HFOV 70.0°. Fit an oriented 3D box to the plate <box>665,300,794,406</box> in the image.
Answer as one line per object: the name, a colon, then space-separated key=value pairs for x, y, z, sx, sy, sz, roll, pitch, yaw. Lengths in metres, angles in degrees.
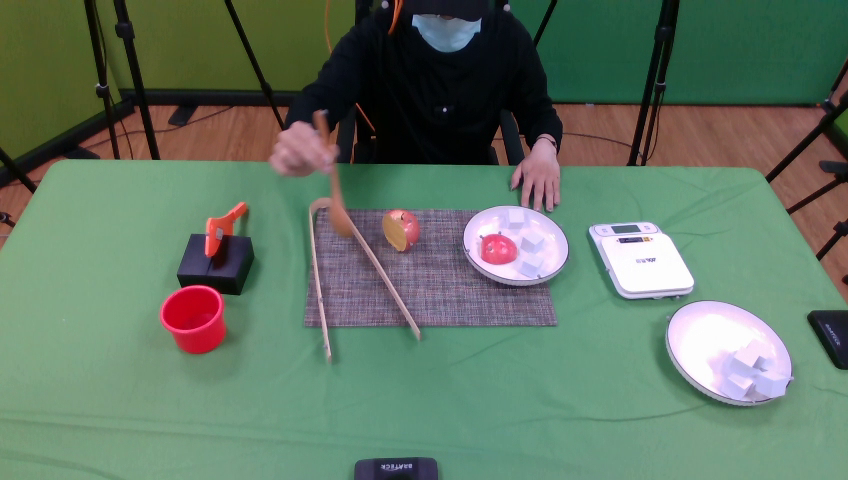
plate: x=0.513 y=0.194 z=1.034 sx=0.208 sy=0.039 sz=0.206 roll=2 pitch=46 yaw=-2

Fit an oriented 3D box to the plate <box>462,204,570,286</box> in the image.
plate: x=0.177 y=0.013 z=1.180 sx=0.209 sy=0.038 sz=0.208 roll=2 pitch=46 yaw=-2

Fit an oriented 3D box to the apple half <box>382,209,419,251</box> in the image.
apple half: x=-0.039 y=-0.022 z=1.175 sx=0.053 sy=0.075 sz=0.080 roll=-26 pitch=50 yaw=-31

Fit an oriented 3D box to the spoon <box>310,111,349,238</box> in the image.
spoon: x=-0.141 y=-0.092 z=0.889 sx=0.041 sy=0.194 sz=0.021 roll=6 pitch=22 yaw=41

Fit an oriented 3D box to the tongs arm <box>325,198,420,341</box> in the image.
tongs arm: x=-0.101 y=0.043 z=1.140 sx=0.028 sy=0.028 sz=0.385 roll=-22 pitch=51 yaw=-18

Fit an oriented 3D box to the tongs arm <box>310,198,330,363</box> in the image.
tongs arm: x=-0.180 y=0.058 z=1.117 sx=0.051 sy=0.026 sz=0.382 roll=-9 pitch=47 yaw=-11

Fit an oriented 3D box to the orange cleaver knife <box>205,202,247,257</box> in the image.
orange cleaver knife: x=-0.374 y=-0.024 z=1.151 sx=0.012 sy=0.077 sz=0.210 roll=4 pitch=16 yaw=1

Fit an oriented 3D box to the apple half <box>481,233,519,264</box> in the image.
apple half: x=0.147 y=0.010 z=1.174 sx=0.081 sy=0.033 sz=0.081 roll=0 pitch=46 yaw=0

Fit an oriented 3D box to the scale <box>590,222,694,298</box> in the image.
scale: x=0.424 y=0.031 z=1.189 sx=0.149 sy=0.032 sz=0.199 roll=-3 pitch=46 yaw=-7
